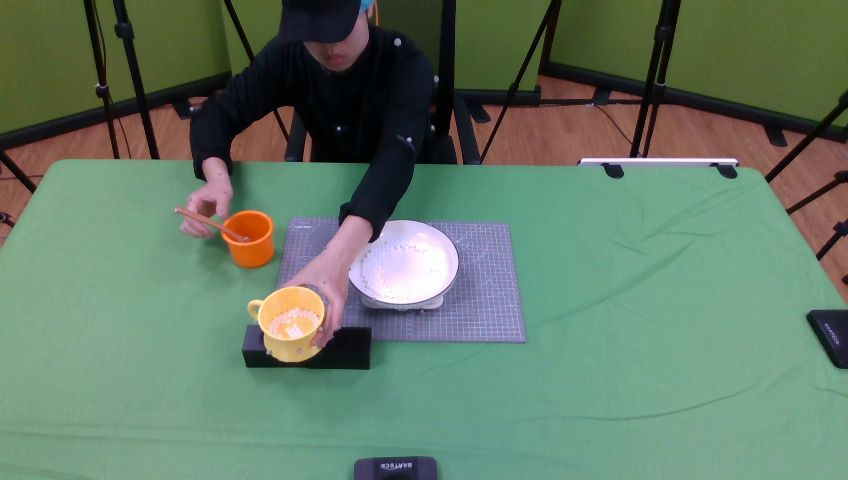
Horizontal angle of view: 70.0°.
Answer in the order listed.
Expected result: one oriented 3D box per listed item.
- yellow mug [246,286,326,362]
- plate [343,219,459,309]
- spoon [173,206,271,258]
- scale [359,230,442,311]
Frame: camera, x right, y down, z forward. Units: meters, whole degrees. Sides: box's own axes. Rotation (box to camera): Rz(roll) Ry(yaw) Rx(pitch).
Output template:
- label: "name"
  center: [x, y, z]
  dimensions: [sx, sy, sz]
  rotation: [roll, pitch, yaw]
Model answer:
- label: "yellow mug"
  center: [-0.219, 0.125, 0.946]
  dimensions: [0.130, 0.064, 0.099]
  rotation: [17, 49, 11]
- label: "plate"
  center: [-0.041, 0.045, 1.094]
  dimensions: [0.209, 0.038, 0.208]
  rotation: [2, 46, -2]
- label: "spoon"
  center: [-0.362, -0.016, 1.097]
  dimensions: [0.021, 0.195, 0.041]
  rotation: [-32, 43, 26]
- label: "scale"
  center: [-0.043, 0.047, 1.138]
  dimensions: [0.149, 0.032, 0.199]
  rotation: [2, 46, -3]
